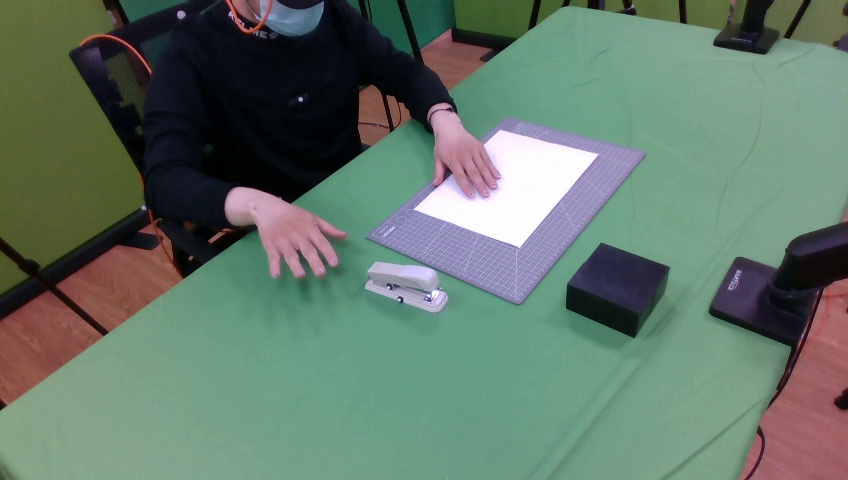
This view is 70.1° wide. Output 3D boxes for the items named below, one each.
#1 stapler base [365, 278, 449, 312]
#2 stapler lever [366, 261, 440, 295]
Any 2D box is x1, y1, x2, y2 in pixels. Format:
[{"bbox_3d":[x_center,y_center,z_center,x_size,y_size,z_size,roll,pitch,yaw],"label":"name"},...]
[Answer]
[{"bbox_3d":[-0.027,0.069,0.893,0.129,0.024,0.041,15,43,26],"label":"stapler base"},{"bbox_3d":[-0.031,0.049,0.878,0.117,0.040,0.027,15,43,26],"label":"stapler lever"}]
